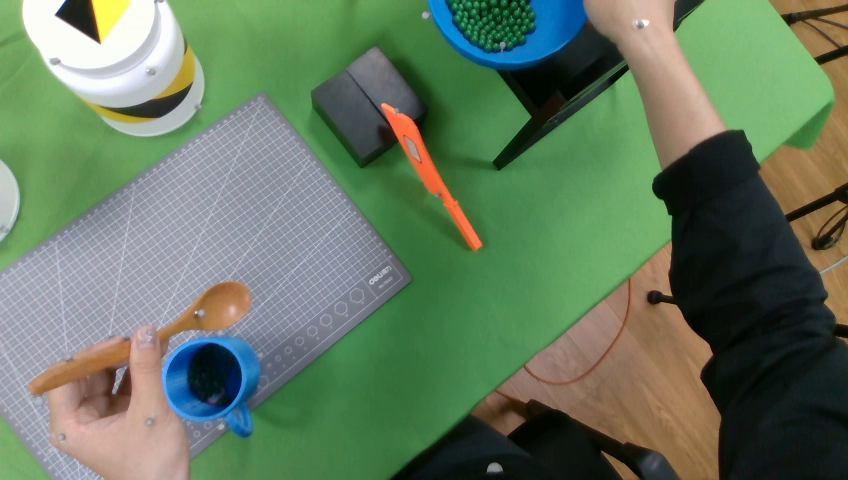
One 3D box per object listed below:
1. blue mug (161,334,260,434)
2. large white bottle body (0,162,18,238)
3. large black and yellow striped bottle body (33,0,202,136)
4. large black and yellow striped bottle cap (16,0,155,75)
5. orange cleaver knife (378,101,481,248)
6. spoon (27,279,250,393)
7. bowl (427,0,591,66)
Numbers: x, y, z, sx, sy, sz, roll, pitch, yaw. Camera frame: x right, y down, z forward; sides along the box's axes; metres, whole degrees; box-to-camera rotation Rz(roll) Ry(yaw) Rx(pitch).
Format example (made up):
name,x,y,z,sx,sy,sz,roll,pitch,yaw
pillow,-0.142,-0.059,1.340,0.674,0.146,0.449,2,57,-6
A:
name,x,y,z,sx,sy,sz,roll,pitch,yaw
blue mug,-0.218,0.157,0.654,0.082,0.106,0.116,-30,88,-11
large white bottle body,-0.516,-0.054,0.598,0.131,0.185,0.130,1,82,-8
large black and yellow striped bottle body,-0.323,-0.198,0.645,0.131,0.184,0.130,1,82,-8
large black and yellow striped bottle cap,-0.313,-0.211,0.563,0.115,0.019,0.114,1,83,-10
orange cleaver knife,0.007,-0.076,0.729,0.012,0.076,0.213,-40,121,-12
spoon,-0.199,0.069,0.454,0.021,0.194,0.042,7,104,20
bowl,0.075,-0.226,0.567,0.151,0.077,0.151,0,84,0
